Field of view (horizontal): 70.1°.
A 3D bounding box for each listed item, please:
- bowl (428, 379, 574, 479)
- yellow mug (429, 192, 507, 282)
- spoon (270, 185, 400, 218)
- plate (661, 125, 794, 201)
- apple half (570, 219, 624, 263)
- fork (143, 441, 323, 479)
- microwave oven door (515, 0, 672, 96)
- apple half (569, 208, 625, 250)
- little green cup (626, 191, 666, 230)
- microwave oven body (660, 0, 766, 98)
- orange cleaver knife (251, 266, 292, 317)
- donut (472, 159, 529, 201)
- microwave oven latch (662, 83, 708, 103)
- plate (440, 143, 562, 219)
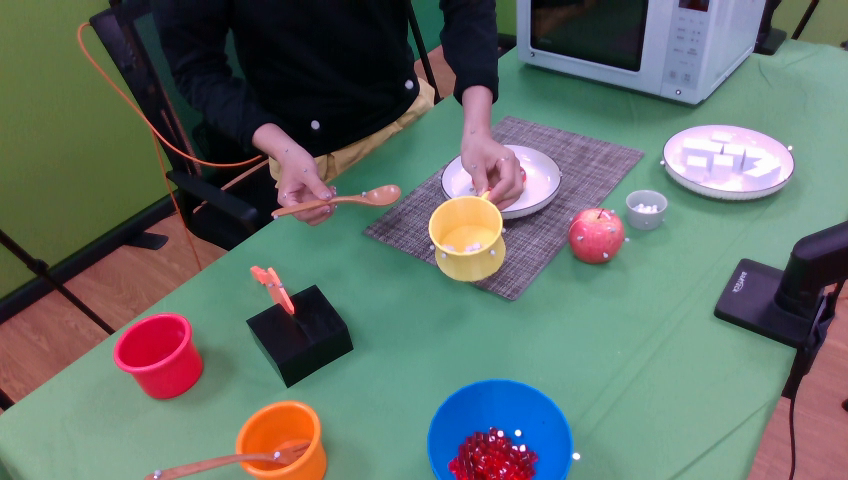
[{"bbox_3d":[0.082,0.233,0.644,0.151,0.077,0.150,-4,39,4],"label":"bowl"},{"bbox_3d":[0.068,-0.013,0.829,0.099,0.064,0.131,18,59,23],"label":"yellow mug"},{"bbox_3d":[-0.124,-0.055,0.863,0.195,0.021,0.041,-10,47,-28],"label":"spoon"},{"bbox_3d":[0.513,-0.128,1.035,0.207,0.039,0.206,-4,40,4],"label":"plate"},{"bbox_3d":[0.250,0.009,0.885,0.081,0.081,0.033,7,39,17],"label":"apple half"},{"bbox_3d":[-0.189,0.231,0.631,0.028,0.018,0.209,35,13,37],"label":"fork"},{"bbox_3d":[0.344,-0.455,1.259,0.353,0.245,0.039,26,51,33],"label":"microwave oven door"},{"bbox_3d":[0.262,-0.014,0.913,0.080,0.075,0.053,5,37,20],"label":"apple half"},{"bbox_3d":[0.352,-0.046,0.963,0.061,0.039,0.061,-4,40,4],"label":"little green cup"},{"bbox_3d":[0.472,-0.513,1.317,0.438,0.261,0.327,26,51,34],"label":"microwave oven body"},{"bbox_3d":[-0.221,0.071,0.873,0.012,0.077,0.210,-25,11,-21],"label":"orange cleaver knife"},{"bbox_3d":[0.132,-0.105,1.043,0.099,0.048,0.098,-5,37,4],"label":"donut"},{"bbox_3d":[0.518,-0.296,1.204,0.078,0.029,0.030,28,52,35],"label":"microwave oven latch"},{"bbox_3d":[0.134,-0.098,1.052,0.209,0.038,0.208,-4,40,4],"label":"plate"}]
